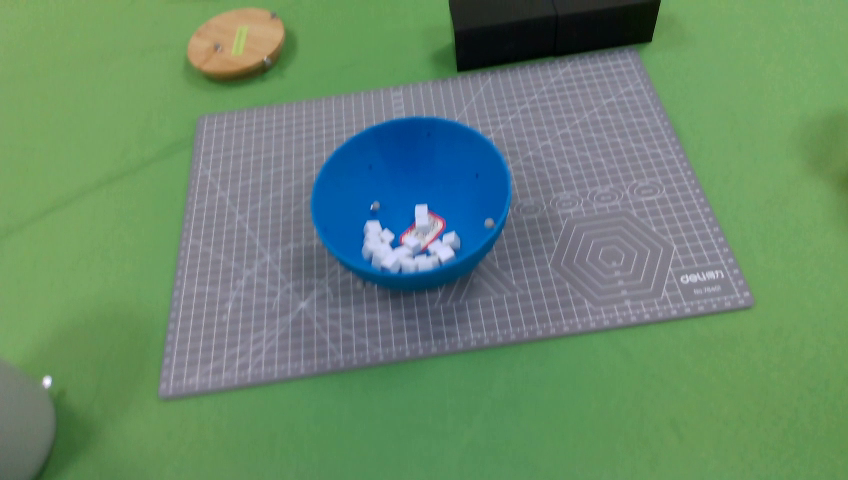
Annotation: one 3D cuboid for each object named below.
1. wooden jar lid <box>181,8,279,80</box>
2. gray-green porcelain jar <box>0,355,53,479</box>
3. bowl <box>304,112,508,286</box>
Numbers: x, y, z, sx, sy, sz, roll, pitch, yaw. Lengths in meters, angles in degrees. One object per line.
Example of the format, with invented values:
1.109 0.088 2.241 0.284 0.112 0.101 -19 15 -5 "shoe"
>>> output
-0.212 -0.215 0.668 0.108 0.021 0.107 -2 56 3 "wooden jar lid"
-0.323 0.116 0.395 0.106 0.128 0.105 -3 56 5 "gray-green porcelain jar"
-0.010 -0.019 0.474 0.151 0.077 0.150 -3 56 5 "bowl"
